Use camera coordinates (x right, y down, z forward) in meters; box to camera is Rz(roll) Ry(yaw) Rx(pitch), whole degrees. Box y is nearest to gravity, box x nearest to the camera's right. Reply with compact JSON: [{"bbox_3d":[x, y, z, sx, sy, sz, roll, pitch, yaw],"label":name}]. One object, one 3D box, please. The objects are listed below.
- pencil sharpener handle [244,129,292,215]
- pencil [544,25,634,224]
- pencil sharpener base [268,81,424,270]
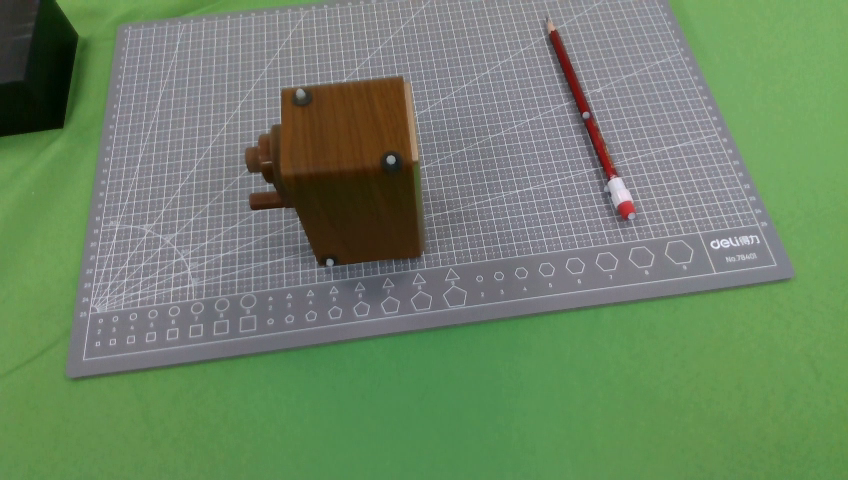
[{"bbox_3d":[-0.093,-0.034,0.345,0.030,0.068,0.035,-6,63,-1],"label":"pencil sharpener handle"},{"bbox_3d":[0.116,-0.093,0.444,0.012,0.012,0.192,-10,60,-4],"label":"pencil"},{"bbox_3d":[-0.042,-0.032,0.357,0.077,0.108,0.061,-6,61,-1],"label":"pencil sharpener base"}]
